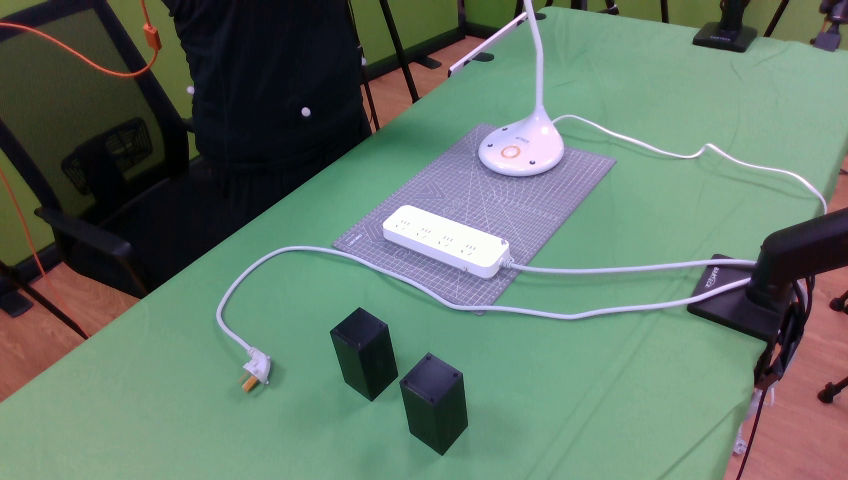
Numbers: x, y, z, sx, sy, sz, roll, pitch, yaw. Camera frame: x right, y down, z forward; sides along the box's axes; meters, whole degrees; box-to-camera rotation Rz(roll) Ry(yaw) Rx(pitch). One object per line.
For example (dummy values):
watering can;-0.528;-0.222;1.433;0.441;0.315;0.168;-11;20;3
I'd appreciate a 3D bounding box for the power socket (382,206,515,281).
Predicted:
power socket;0.032;0.002;0.950;0.225;0.033;0.072;21;49;29

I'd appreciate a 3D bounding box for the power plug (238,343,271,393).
power plug;-0.230;0.172;0.801;0.072;0.035;0.053;8;50;49

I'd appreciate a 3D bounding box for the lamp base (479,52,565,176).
lamp base;0.181;-0.235;1.093;0.159;0.181;0.179;18;44;27
